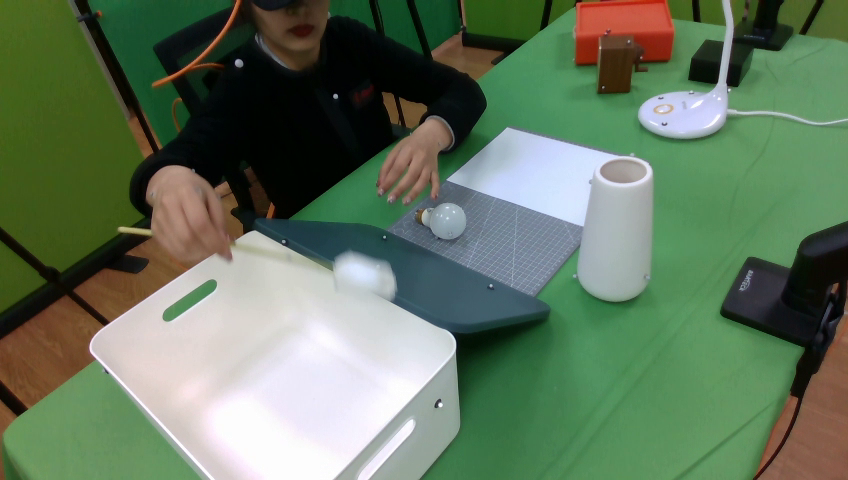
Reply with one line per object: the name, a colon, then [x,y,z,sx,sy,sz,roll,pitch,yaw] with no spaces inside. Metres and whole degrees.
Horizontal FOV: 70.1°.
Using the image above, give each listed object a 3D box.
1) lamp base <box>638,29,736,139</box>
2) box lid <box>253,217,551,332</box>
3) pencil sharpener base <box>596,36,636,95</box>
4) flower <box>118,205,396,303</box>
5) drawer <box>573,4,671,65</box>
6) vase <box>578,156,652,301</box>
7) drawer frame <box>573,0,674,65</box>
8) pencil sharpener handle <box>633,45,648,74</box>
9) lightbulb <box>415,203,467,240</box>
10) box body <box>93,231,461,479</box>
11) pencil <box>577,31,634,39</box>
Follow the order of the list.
lamp base: [0.501,-0.302,1.125,0.179,0.181,0.160,-4,40,3]
box lid: [-0.031,0.037,0.833,0.368,0.015,0.265,24,12,33]
pencil sharpener base: [0.406,-0.369,1.280,0.076,0.107,0.061,1,41,13]
flower: [-0.193,0.004,0.634,0.359,0.044,0.038,14,88,23]
drawer: [0.461,-0.490,1.435,0.211,0.073,0.194,2,40,12]
vase: [0.261,-0.011,0.812,0.098,0.201,0.097,-4,40,4]
drawer frame: [0.464,-0.492,1.434,0.213,0.083,0.201,1,40,12]
pencil sharpener handle: [0.454,-0.378,1.262,0.030,0.068,0.036,1,47,13]
lightbulb: [0.024,-0.034,0.998,0.060,0.060,0.107,-38,32,-30]
box body: [-0.162,0.170,0.708,0.361,0.161,0.255,25,50,34]
pencil: [0.431,-0.489,1.443,0.012,0.012,0.192,-25,30,-18]
